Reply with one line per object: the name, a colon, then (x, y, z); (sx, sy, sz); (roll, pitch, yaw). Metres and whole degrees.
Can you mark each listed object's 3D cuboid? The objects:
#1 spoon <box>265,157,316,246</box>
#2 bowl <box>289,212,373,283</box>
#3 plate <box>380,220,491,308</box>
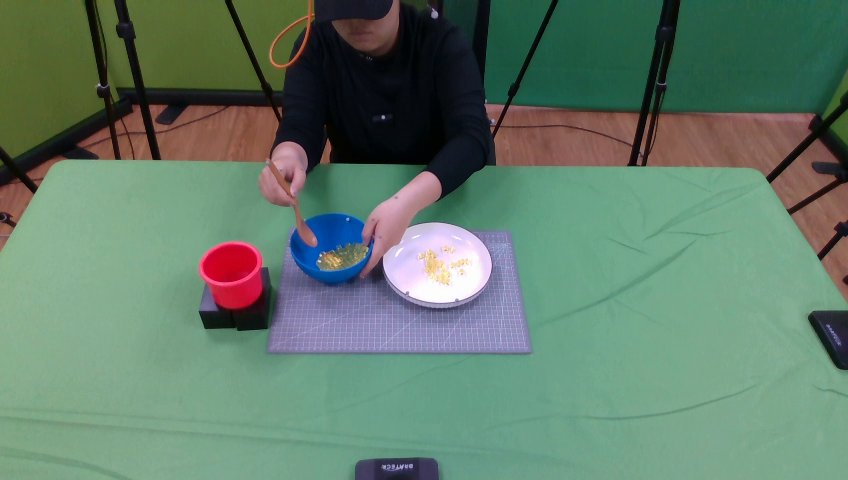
spoon: (-0.226, -0.063, 1.038); (0.021, 0.195, 0.041); (-8, 41, 10)
bowl: (-0.169, 0.027, 1.116); (0.151, 0.077, 0.150); (2, 47, -2)
plate: (0.021, 0.048, 1.138); (0.208, 0.039, 0.206); (2, 46, -2)
